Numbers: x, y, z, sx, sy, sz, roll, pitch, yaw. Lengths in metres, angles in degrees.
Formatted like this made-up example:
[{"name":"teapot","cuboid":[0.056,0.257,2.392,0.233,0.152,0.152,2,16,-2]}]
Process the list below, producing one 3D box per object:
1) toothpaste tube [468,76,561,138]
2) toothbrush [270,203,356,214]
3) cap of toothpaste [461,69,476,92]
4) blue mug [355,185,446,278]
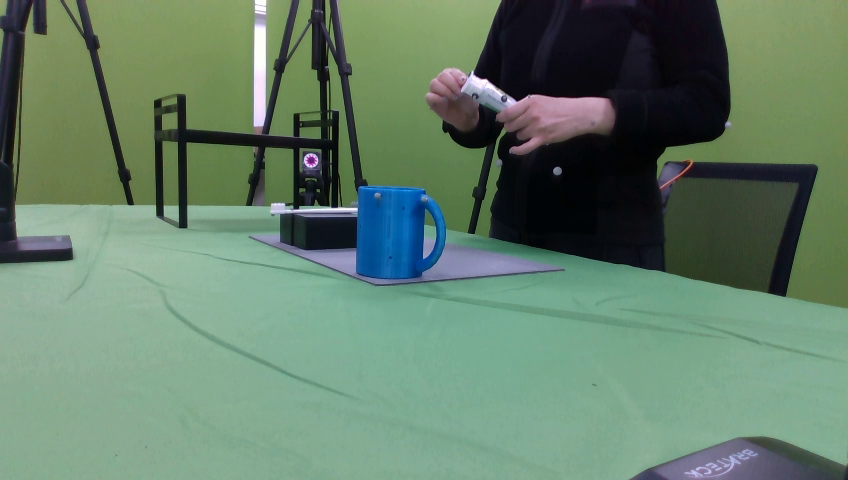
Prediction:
[{"name":"toothpaste tube","cuboid":[0.137,-0.201,0.923,0.165,0.034,0.055,27,23,-13]},{"name":"toothbrush","cuboid":[-0.156,-0.050,0.958,0.183,0.016,0.014,-2,2,-34]},{"name":"cap of toothpaste","cuboid":[0.067,-0.238,0.906,0.011,0.037,0.037,23,1,-17]},{"name":"blue mug","cuboid":[-0.027,-0.011,0.723,0.116,0.106,0.083,6,8,27]}]
